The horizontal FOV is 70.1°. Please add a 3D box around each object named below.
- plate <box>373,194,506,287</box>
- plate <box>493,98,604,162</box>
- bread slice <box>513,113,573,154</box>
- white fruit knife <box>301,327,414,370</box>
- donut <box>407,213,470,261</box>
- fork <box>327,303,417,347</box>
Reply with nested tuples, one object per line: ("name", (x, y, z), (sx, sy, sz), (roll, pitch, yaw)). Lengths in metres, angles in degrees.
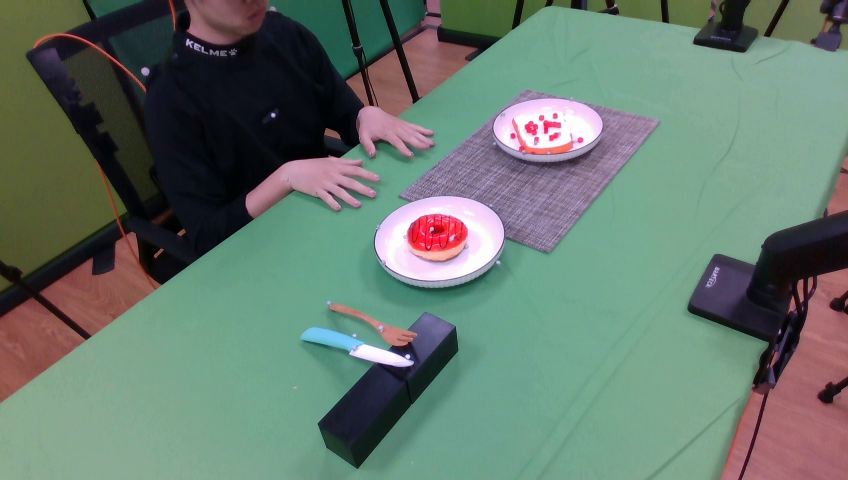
("plate", (0.025, 0.003, 0.952), (0.207, 0.039, 0.206), (-4, 41, 4))
("plate", (0.237, -0.206, 1.158), (0.209, 0.038, 0.208), (-4, 40, 4))
("bread slice", (0.233, -0.205, 1.160), (0.105, 0.019, 0.131), (-7, 40, 1))
("white fruit knife", (-0.088, 0.140, 0.781), (0.205, 0.016, 0.027), (7, 42, 42))
("donut", (0.022, -0.006, 0.944), (0.099, 0.048, 0.098), (-4, 38, 3))
("fork", (-0.077, 0.110, 0.811), (0.028, 0.019, 0.205), (-41, 33, -26))
